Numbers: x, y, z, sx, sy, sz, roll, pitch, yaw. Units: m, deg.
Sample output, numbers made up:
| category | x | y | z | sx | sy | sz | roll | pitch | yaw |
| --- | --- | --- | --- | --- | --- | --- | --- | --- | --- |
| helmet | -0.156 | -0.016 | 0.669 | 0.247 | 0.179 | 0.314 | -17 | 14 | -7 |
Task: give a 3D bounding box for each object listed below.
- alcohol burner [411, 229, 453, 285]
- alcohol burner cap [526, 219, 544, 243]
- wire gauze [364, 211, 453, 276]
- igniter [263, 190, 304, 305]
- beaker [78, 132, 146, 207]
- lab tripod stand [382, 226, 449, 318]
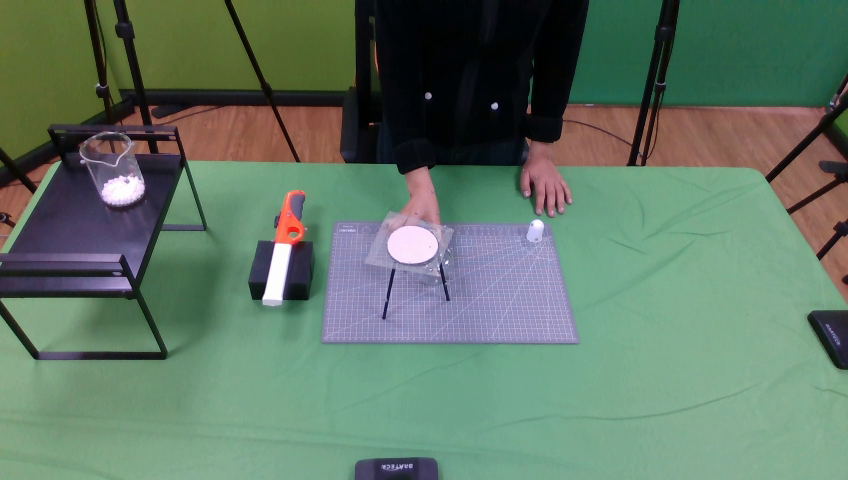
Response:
| category | x | y | z | sx | sy | sz | roll | pitch | yaw |
| --- | --- | --- | --- | --- | --- | --- | --- | --- | --- |
| alcohol burner | 0.015 | 0.025 | 1.108 | 0.078 | 0.119 | 0.077 | 3 | 45 | -3 |
| alcohol burner cap | 0.225 | -0.021 | 1.218 | 0.034 | 0.048 | 0.033 | 1 | 46 | -1 |
| wire gauze | -0.024 | 0.006 | 1.016 | 0.121 | 0.011 | 0.124 | 14 | 48 | 9 |
| igniter | -0.255 | 0.004 | 1.107 | 0.057 | 0.025 | 0.274 | 6 | 47 | -7 |
| beaker | -0.488 | -0.108 | 0.961 | 0.074 | 0.101 | 0.083 | -25 | 54 | -25 |
| lab tripod stand | -0.024 | 0.055 | 1.062 | 0.148 | 0.132 | 0.147 | 2 | 48 | -3 |
